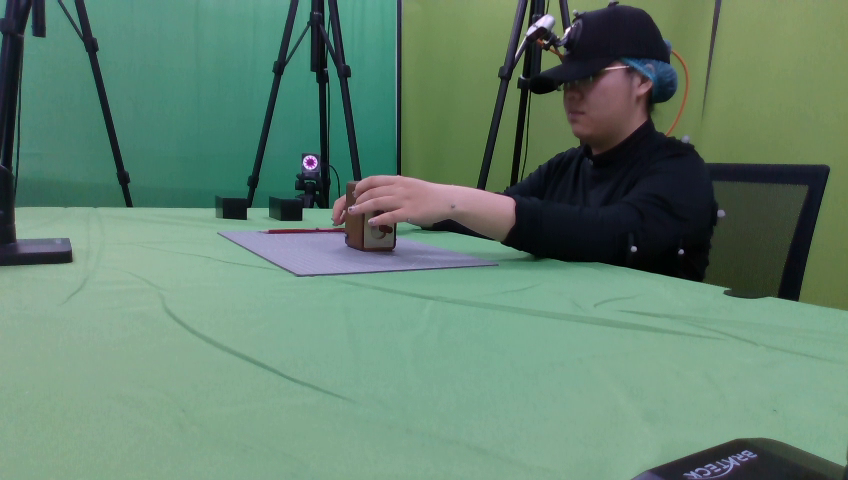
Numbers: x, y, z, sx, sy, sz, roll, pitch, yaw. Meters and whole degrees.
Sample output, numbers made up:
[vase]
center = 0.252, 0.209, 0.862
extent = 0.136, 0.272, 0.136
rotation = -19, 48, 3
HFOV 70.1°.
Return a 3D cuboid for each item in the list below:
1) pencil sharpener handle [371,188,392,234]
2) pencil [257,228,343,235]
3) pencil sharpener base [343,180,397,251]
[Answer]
[pencil sharpener handle]
center = -0.058, -0.044, 0.913
extent = 0.036, 0.067, 0.030
rotation = -3, 10, -31
[pencil]
center = -0.213, -0.017, 1.132
extent = 0.195, 0.012, 0.012
rotation = -3, 9, -24
[pencil sharpener base]
center = -0.085, -0.039, 0.958
extent = 0.062, 0.107, 0.076
rotation = -1, 9, -31
